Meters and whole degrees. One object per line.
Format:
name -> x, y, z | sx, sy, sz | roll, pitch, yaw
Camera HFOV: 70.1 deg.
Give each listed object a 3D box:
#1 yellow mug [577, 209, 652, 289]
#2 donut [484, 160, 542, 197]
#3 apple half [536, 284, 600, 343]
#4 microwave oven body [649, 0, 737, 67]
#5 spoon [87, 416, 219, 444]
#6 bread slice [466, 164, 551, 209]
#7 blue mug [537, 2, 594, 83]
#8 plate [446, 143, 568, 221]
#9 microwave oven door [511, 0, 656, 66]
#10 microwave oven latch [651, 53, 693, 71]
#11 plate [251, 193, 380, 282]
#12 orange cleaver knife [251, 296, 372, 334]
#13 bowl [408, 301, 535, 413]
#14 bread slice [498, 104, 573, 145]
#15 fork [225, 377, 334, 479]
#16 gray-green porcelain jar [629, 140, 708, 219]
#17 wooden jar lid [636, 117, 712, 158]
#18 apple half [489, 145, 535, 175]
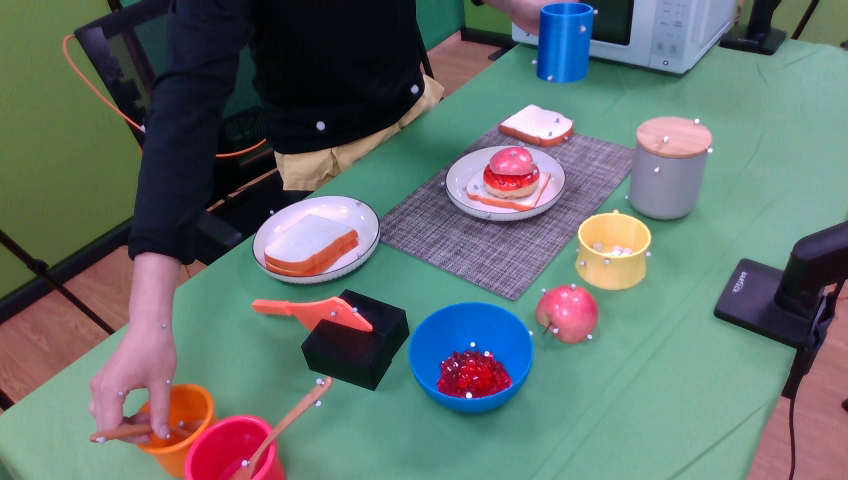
yellow mug -> 0.279, 0.004, 0.893 | 0.099, 0.064, 0.130 | 5, 42, 14
donut -> 0.149, -0.110, 1.016 | 0.099, 0.048, 0.098 | -4, 41, 4
apple half -> 0.196, 0.091, 0.815 | 0.075, 0.053, 0.080 | -22, 42, -20
microwave oven body -> 0.475, -0.602, 1.411 | 0.438, 0.261, 0.327 | 23, 50, 32
spoon -> -0.289, 0.205, 0.658 | 0.041, 0.195, 0.021 | 14, 79, 18
bread slice -> 0.141, -0.095, 1.040 | 0.133, 0.018, 0.107 | 8, 42, 21
blue mug -> 0.228, -0.327, 0.984 | 0.082, 0.106, 0.116 | 3, 35, 8
plate -> 0.142, -0.096, 1.045 | 0.207, 0.039, 0.206 | -4, 41, 4
microwave oven door -> 0.351, -0.539, 1.348 | 0.353, 0.245, 0.039 | 24, 50, 31
microwave oven latch -> 0.532, -0.386, 1.301 | 0.078, 0.029, 0.030 | 27, 52, 34
plate -> -0.173, -0.001, 0.984 | 0.209, 0.038, 0.208 | -4, 41, 4
orange cleaver knife -> -0.158, 0.103, 0.828 | 0.210, 0.078, 0.012 | -3, 42, 39
bowl -> 0.060, 0.156, 0.739 | 0.151, 0.077, 0.150 | -4, 40, 4
bread slice -> 0.231, -0.231, 1.205 | 0.105, 0.019, 0.130 | -36, 47, -29
fork -> -0.163, 0.216, 0.646 | 0.207, 0.019, 0.028 | -49, 42, 16
gray-green porcelain jar -> 0.383, -0.105, 0.958 | 0.106, 0.127, 0.105 | -4, 41, 4
wooden jar lid -> 0.377, -0.151, 0.917 | 0.108, 0.021, 0.108 | -3, 41, 3
apple half -> 0.145, -0.138, 0.995 | 0.081, 0.033, 0.081 | -2, 34, 2
